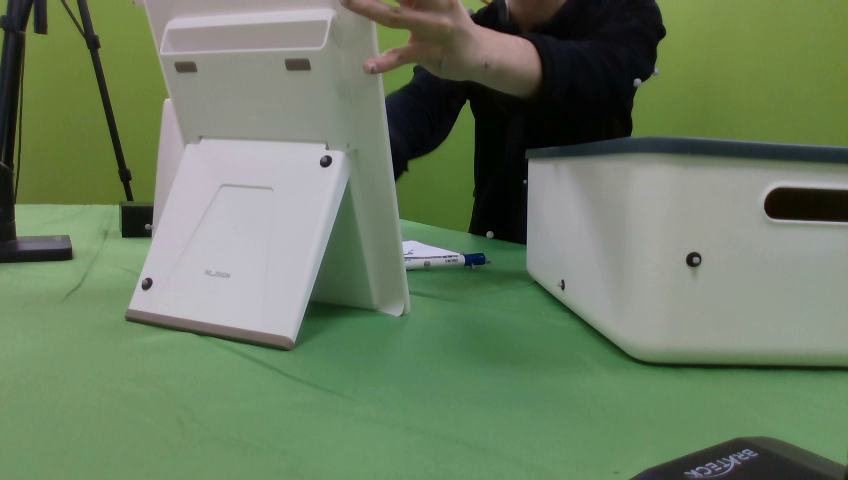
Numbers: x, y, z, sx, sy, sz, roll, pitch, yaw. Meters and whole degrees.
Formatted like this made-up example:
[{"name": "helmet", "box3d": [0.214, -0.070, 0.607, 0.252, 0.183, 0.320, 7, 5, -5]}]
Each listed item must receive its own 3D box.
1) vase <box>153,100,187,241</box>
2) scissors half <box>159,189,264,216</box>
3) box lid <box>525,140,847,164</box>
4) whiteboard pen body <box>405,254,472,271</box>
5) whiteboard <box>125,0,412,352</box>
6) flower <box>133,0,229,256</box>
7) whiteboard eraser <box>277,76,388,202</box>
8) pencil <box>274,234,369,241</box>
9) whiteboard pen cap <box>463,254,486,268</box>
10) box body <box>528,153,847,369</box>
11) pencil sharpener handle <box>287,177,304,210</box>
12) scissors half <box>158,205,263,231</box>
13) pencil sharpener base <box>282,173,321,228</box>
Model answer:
[{"name": "vase", "box3d": [-0.278, -0.066, 0.736, 0.098, 0.200, 0.098, 2, 9, 0]}, {"name": "scissors half", "box3d": [-0.370, -0.062, 1.059, 0.176, 0.040, 0.013, -11, 8, -26]}, {"name": "box lid", "box3d": [0.261, -0.078, 0.580, 0.264, 0.015, 0.371, 2, 7, -4]}, {"name": "whiteboard pen body", "box3d": [0.013, 0.030, 0.792, 0.141, 0.017, 0.017, -4, 10, -24]}, {"name": "whiteboard", "box3d": [-0.151, -0.049, 0.471, 0.216, 0.305, 0.144, 6, 27, 24]}, {"name": "flower", "box3d": [-0.282, -0.146, 0.712, 0.038, 0.362, 0.044, -23, 23, -31]}, {"name": "whiteboard eraser", "box3d": [-0.083, -0.084, 0.528, 0.055, 0.112, 0.042, 41, 37, -5]}, {"name": "pencil", "box3d": [-0.169, -0.005, 1.035, 0.195, 0.012, 0.012, -1, 8, -44]}, {"name": "whiteboard pen cap", "box3d": [0.066, 0.029, 0.819, 0.033, 0.018, 0.018, -9, 11, -23]}, {"name": "box body", "box3d": [0.257, -0.005, 0.591, 0.254, 0.160, 0.363, 2, 7, -4]}, {"name": "pencil sharpener handle", "box3d": [-0.269, -0.096, 1.257, 0.036, 0.067, 0.030, -8, 8, -27]}, {"name": "scissors half", "box3d": [-0.371, -0.042, 1.062, 0.176, 0.040, 0.012, 8, 5, -28]}, {"name": "pencil sharpener base", "box3d": [-0.247, -0.080, 1.212, 0.061, 0.107, 0.076, -2, 5, -28]}]
